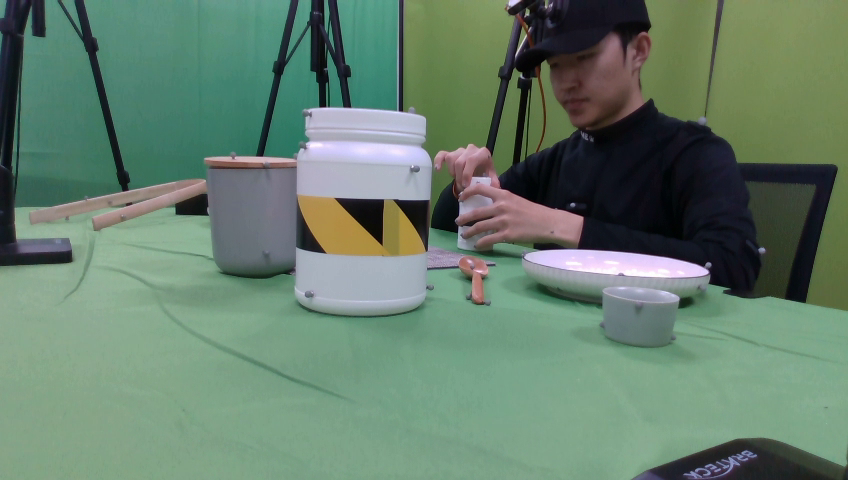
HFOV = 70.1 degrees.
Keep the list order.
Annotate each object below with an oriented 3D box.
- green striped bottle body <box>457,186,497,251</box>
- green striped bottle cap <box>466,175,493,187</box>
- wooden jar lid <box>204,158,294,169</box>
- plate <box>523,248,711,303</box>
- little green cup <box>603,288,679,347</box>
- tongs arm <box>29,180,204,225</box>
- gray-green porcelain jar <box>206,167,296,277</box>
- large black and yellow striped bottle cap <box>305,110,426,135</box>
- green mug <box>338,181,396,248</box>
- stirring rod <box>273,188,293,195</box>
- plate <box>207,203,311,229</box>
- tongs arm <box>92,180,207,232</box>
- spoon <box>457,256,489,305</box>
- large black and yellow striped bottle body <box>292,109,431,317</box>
[{"bbox_3d":[0.090,-0.044,1.023,0.063,0.119,0.063,4,7,0],"label":"green striped bottle body"},{"bbox_3d":[0.093,-0.098,1.016,0.044,0.020,0.044,0,6,0],"label":"green striped bottle cap"},{"bbox_3d":[-0.202,-0.086,0.714,0.108,0.020,0.108,3,11,0],"label":"wooden jar lid"},{"bbox_3d":[0.219,0.041,0.706,0.209,0.038,0.209,2,7,0],"label":"plate"},{"bbox_3d":[0.180,0.064,0.505,0.061,0.038,0.061,2,6,0],"label":"little green cup"},{"bbox_3d":[-0.609,-0.083,1.245,0.050,0.026,0.386,5,16,23],"label":"tongs arm"},{"bbox_3d":[-0.201,-0.024,0.724,0.106,0.126,0.106,-1,9,1],"label":"gray-green porcelain jar"},{"bbox_3d":[-0.055,-0.110,0.574,0.115,0.019,0.115,1,7,0],"label":"large black and yellow striped bottle cap"},{"bbox_3d":[-0.097,-0.044,0.995,0.093,0.105,0.125,-1,8,-21],"label":"green mug"},{"bbox_3d":[-0.353,-0.122,1.518,0.006,0.014,0.176,1,7,2],"label":"stirring rod"},{"bbox_3d":[-0.342,-0.050,1.259,0.208,0.039,0.207,3,7,0],"label":"plate"},{"bbox_3d":[-0.534,-0.076,1.221,0.028,0.028,0.388,-2,15,12],"label":"tongs arm"},{"bbox_3d":[0.059,0.044,0.696,0.041,0.021,0.193,22,7,0],"label":"spoon"},{"bbox_3d":[-0.060,-0.028,0.585,0.131,0.184,0.130,3,7,0],"label":"large black and yellow striped bottle body"}]
